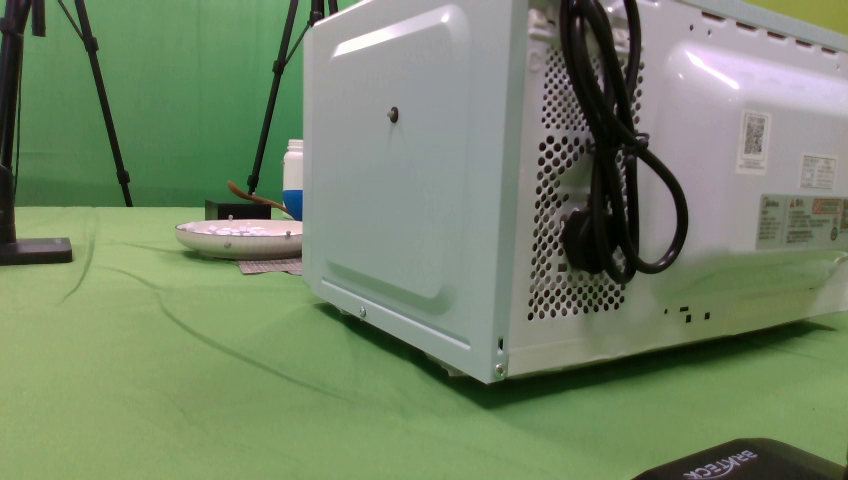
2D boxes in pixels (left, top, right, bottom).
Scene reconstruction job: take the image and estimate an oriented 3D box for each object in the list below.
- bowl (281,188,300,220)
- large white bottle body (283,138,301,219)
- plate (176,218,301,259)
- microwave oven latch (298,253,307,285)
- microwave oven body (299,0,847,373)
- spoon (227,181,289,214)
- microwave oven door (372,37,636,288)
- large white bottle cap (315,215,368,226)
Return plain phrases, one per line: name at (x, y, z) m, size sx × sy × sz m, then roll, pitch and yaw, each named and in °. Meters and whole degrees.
bowl at (-0.190, -0.053, 1.129) m, size 0.151 × 0.077 × 0.151 m, roll 3°, pitch 8°, yaw 0°
large white bottle body at (-0.265, -0.144, 1.424) m, size 0.131 × 0.184 × 0.130 m, roll 2°, pitch 7°, yaw 0°
plate at (-0.248, -0.003, 0.877) m, size 0.209 × 0.038 × 0.209 m, roll 1°, pitch 8°, yaw 0°
microwave oven latch at (-0.081, 0.027, 0.582) m, size 0.079 × 0.029 × 0.030 m, roll -1°, pitch 7°, yaw -33°
microwave oven body at (0.152, -0.055, 0.542) m, size 0.444 × 0.260 × 0.324 m, roll -2°, pitch 7°, yaw -33°
spoon at (-0.315, -0.074, 1.234) m, size 0.195 × 0.021 × 0.041 m, roll 24°, pitch -10°, yaw -37°
microwave oven door at (0.110, -0.080, 0.686) m, size 0.358 × 0.243 × 0.039 m, roll -2°, pitch 9°, yaw -33°
large white bottle cap at (-0.178, -0.041, 1.309) m, size 0.115 × 0.018 × 0.115 m, roll 2°, pitch 6°, yaw 0°
